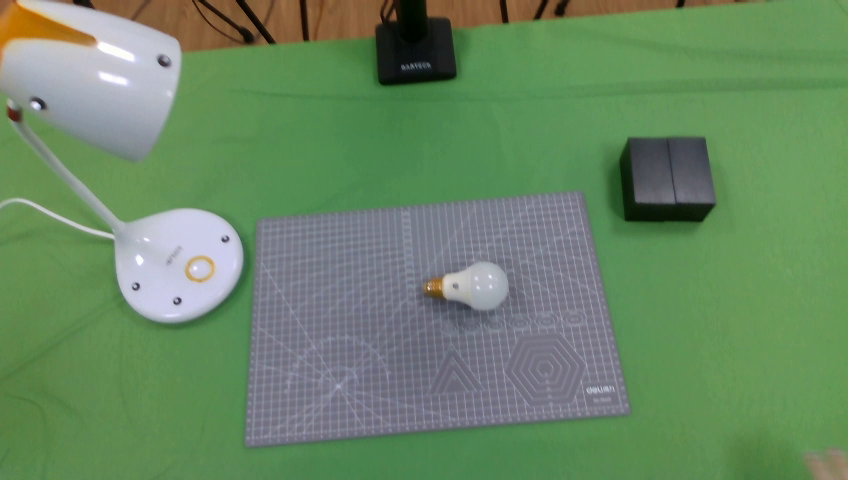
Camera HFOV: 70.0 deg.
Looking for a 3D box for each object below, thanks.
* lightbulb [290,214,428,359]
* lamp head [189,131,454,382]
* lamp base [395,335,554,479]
[{"bbox_3d":[-0.038,0.031,0.284,0.060,0.108,0.059,15,51,-18],"label":"lightbulb"},{"bbox_3d":[-0.060,0.022,0.303,0.113,0.123,0.111,18,59,-33],"label":"lamp head"},{"bbox_3d":[0.042,0.152,0.596,0.179,0.181,0.159,9,70,11],"label":"lamp base"}]
